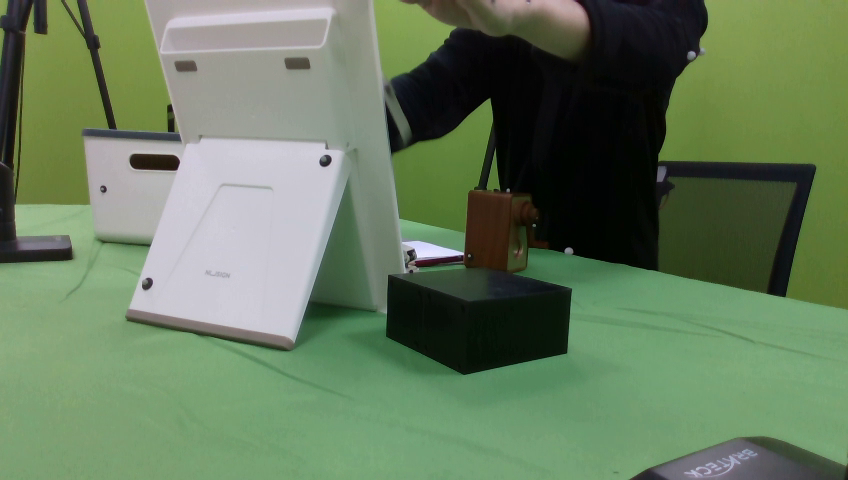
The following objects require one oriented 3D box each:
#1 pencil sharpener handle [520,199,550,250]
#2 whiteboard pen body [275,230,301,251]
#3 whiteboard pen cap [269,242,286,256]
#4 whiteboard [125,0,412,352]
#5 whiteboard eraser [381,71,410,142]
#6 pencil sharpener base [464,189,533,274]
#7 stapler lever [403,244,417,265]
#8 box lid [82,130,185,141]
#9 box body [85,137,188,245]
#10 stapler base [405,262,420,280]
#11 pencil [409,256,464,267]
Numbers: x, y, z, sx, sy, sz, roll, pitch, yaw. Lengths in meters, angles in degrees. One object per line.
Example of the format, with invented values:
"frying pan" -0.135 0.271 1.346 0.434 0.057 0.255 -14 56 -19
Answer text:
"pencil sharpener handle" 0.146 -0.019 0.784 0.030 0.068 0.036 8 23 36
"whiteboard pen body" -0.203 0.002 0.894 0.017 0.017 0.140 2 9 -1
"whiteboard pen cap" -0.202 0.012 0.836 0.018 0.018 0.033 2 8 0
"whiteboard" -0.151 -0.049 0.471 0.216 0.305 0.144 6 27 24
"whiteboard eraser" -0.072 -0.099 0.513 0.112 0.055 0.042 -12 23 29
"pencil sharpener base" 0.103 -0.012 0.812 0.076 0.107 0.061 8 9 36
"stapler lever" -0.066 0.003 0.754 0.117 0.040 0.027 9 14 23
"box lid" -0.337 -0.161 1.011 0.263 0.015 0.372 4 7 11
"box body" -0.340 -0.088 1.022 0.254 0.160 0.364 4 7 11
"stapler base" -0.069 0.027 0.759 0.130 0.024 0.041 10 14 23
"pencil" 0.041 0.028 0.849 0.012 0.012 0.195 10 10 44
